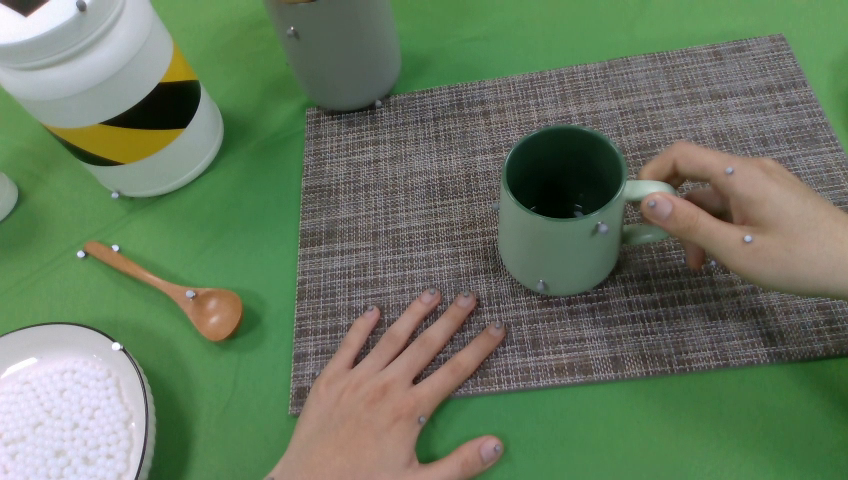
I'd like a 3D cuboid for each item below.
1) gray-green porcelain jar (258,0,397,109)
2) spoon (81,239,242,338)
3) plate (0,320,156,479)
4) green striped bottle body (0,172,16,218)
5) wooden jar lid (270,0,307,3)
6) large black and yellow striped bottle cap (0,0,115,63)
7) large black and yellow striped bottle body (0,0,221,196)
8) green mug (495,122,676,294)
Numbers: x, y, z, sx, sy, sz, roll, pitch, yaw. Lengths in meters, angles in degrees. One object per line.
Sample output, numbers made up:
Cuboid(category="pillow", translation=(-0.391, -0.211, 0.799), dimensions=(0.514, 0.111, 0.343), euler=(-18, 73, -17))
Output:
Cuboid(category="gray-green porcelain jar", translation=(-0.083, -0.193, 0.551), dimensions=(0.106, 0.128, 0.105), euler=(-4, 56, 7))
Cuboid(category="spoon", translation=(-0.225, 0.032, 0.509), dimensions=(0.192, 0.022, 0.041), euler=(22, 84, 20))
Cuboid(category="plate", translation=(-0.289, 0.160, 0.438), dimensions=(0.209, 0.038, 0.207), euler=(-4, 60, 7))
Cuboid(category="green striped bottle body", translation=(-0.437, -0.065, 0.542), dimensions=(0.063, 0.120, 0.062), euler=(-4, 60, 8))
Cuboid(category="wooden jar lid", translation=(-0.092, -0.228, 0.499), dimensions=(0.108, 0.021, 0.107), euler=(-6, 58, 10))
Cuboid(category="large black and yellow striped bottle cap", translation=(-0.286, -0.178, 0.447), dimensions=(0.115, 0.019, 0.114), euler=(-4, 59, 7))
Cuboid(category="large black and yellow striped bottle body", translation=(-0.273, -0.138, 0.519), dimensions=(0.130, 0.186, 0.129), euler=(-4, 60, 7))
Cuboid(category="green mug", translation=(0.112, -0.020, 0.430), dimensions=(0.125, 0.106, 0.092), euler=(0, 60, 10))
